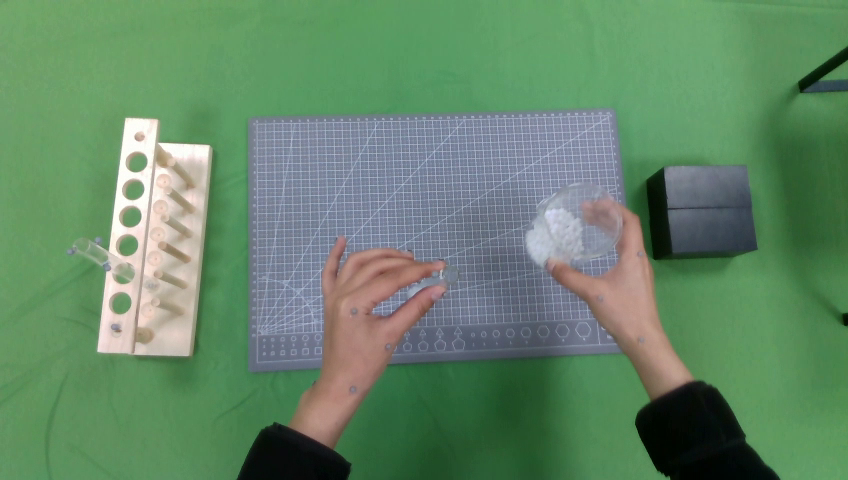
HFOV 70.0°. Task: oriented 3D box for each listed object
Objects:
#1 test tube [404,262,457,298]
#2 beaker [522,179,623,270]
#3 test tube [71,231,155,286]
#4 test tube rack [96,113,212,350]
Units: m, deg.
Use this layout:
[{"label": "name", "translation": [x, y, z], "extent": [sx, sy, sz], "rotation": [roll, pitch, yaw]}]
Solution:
[{"label": "test tube", "translation": [0.003, 0.039, 0.566], "extent": [0.017, 0.150, 0.017], "rotation": [3, 78, -13]}, {"label": "beaker", "translation": [0.142, -0.012, 0.613], "extent": [0.084, 0.100, 0.073], "rotation": [18, 76, -1]}, {"label": "test tube", "translation": [-0.301, 0.022, 0.598], "extent": [0.017, 0.151, 0.017], "rotation": [0, 72, -1]}, {"label": "test tube rack", "translation": [-0.285, -0.005, 0.654], "extent": [0.067, 0.085, 0.241], "rotation": [2, 80, -3]}]
